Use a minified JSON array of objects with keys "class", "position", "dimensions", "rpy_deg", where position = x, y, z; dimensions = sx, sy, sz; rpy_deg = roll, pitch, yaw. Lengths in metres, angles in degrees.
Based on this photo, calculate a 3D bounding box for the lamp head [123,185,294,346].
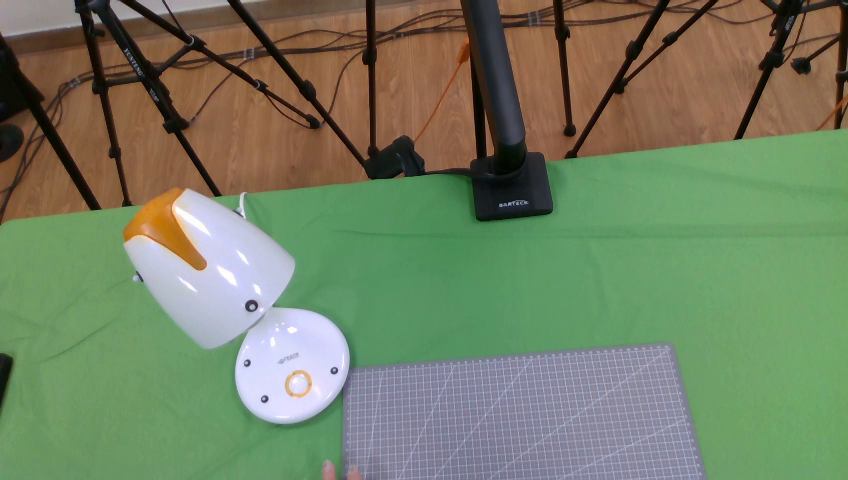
[{"class":"lamp head","position":[-0.193,0.012,0.524],"dimensions":[0.112,0.124,0.111],"rpy_deg":[-34,23,16]}]

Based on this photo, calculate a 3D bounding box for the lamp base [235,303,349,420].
[{"class":"lamp base","position":[-0.200,0.125,0.785],"dimensions":[0.160,0.182,0.177],"rpy_deg":[-32,60,-11]}]
